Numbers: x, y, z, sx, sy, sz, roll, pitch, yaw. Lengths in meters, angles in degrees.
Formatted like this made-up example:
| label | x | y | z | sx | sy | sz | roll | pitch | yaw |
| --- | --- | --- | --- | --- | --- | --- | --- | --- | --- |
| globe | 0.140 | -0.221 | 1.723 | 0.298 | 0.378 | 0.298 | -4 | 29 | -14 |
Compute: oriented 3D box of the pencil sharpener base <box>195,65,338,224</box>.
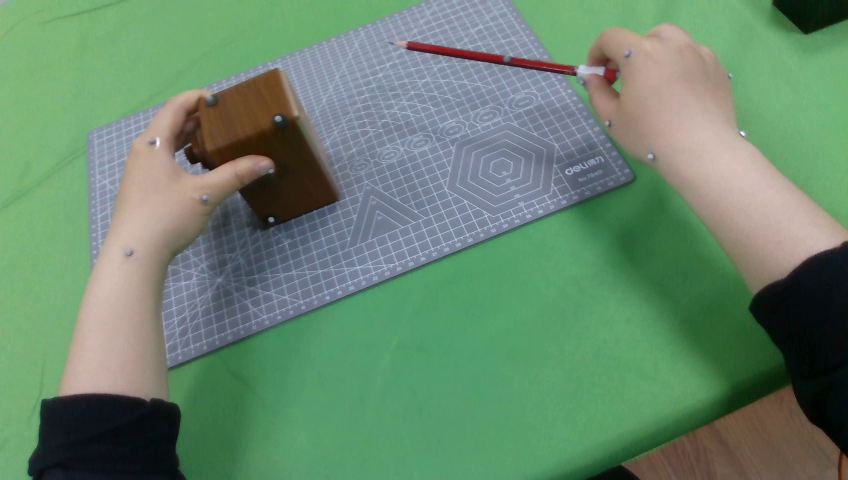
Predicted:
| label | x | y | z | sx | sy | sz | roll | pitch | yaw |
| --- | --- | --- | --- | --- | --- | --- | --- | --- | --- |
| pencil sharpener base | -0.125 | -0.072 | 0.487 | 0.077 | 0.108 | 0.060 | -23 | 57 | -2 |

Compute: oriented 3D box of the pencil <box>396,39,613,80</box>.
| label | x | y | z | sx | sy | sz | roll | pitch | yaw |
| --- | --- | --- | --- | --- | --- | --- | --- | --- | --- |
| pencil | 0.057 | -0.149 | 0.489 | 0.192 | 0.012 | 0.012 | 18 | 65 | 27 |

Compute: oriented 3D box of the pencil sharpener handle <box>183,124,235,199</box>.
| label | x | y | z | sx | sy | sz | roll | pitch | yaw |
| --- | --- | --- | --- | --- | --- | --- | --- | --- | --- |
| pencil sharpener handle | -0.174 | -0.058 | 0.475 | 0.030 | 0.068 | 0.035 | -23 | 57 | -2 |
